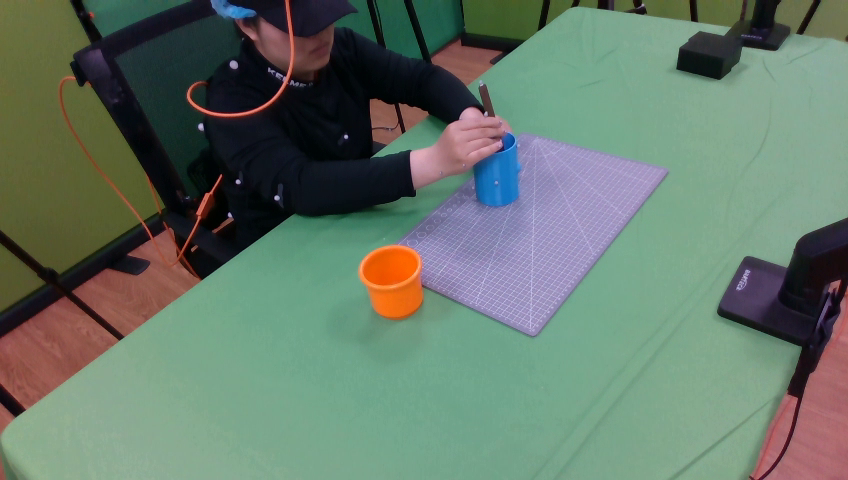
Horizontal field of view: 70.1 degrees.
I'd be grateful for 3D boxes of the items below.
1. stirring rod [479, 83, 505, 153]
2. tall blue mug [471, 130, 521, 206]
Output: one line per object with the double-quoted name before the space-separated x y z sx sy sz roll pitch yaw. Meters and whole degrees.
"stirring rod" 0.118 -0.177 0.991 0.014 0.177 0.005 -34 39 -13
"tall blue mug" 0.119 -0.132 1.046 0.078 0.108 0.106 -19 41 -10
